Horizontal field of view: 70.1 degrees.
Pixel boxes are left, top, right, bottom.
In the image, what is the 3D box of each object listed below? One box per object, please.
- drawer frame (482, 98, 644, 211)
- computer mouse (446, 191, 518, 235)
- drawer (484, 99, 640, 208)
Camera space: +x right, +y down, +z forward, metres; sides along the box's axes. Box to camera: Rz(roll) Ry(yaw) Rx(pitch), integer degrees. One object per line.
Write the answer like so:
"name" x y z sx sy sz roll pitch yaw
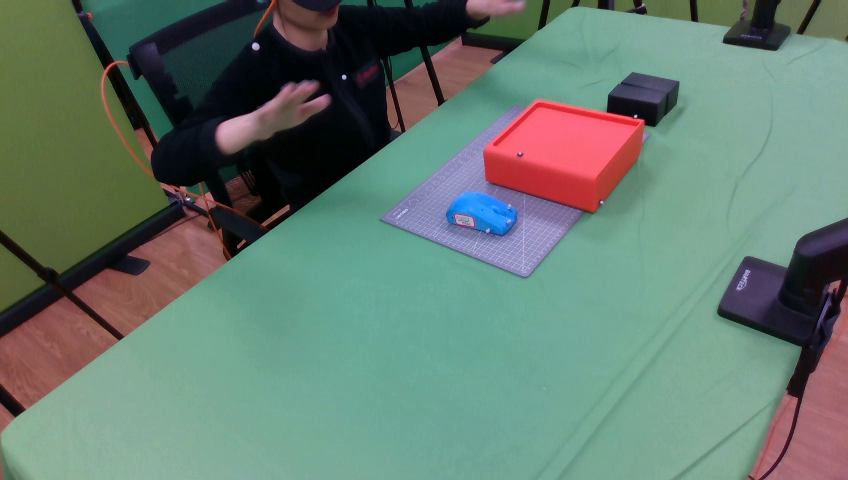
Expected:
"drawer frame" 0.246 -0.158 1.071 0.212 0.083 0.202 21 48 30
"computer mouse" 0.096 -0.048 1.004 0.116 0.041 0.063 18 45 23
"drawer" 0.244 -0.158 1.073 0.210 0.073 0.195 22 48 31
